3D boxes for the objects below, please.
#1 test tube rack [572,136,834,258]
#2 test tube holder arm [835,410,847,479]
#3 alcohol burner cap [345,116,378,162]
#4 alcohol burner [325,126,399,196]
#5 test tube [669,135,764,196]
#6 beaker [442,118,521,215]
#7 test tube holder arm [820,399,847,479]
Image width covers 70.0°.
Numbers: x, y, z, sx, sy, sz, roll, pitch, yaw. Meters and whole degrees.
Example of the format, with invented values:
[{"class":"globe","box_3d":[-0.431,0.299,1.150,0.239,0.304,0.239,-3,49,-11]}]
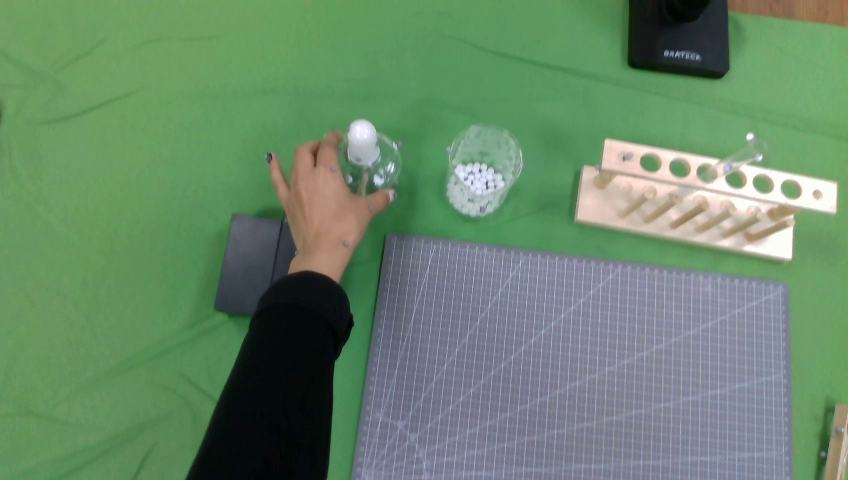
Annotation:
[{"class":"test tube rack","box_3d":[0.293,-0.043,0.652,0.242,0.085,0.066,11,76,0]},{"class":"test tube holder arm","box_3d":[0.431,0.213,0.632,0.010,0.015,0.087,27,75,-31]},{"class":"alcohol burner cap","box_3d":[-0.062,-0.100,0.589,0.034,0.048,0.033,1,69,-1]},{"class":"alcohol burner","box_3d":[-0.064,-0.090,0.625,0.078,0.119,0.077,1,74,-3]},{"class":"test tube","box_3d":[0.287,-0.070,0.607,0.017,0.150,0.017,1,78,-5]},{"class":"beaker","box_3d":[0.056,-0.070,0.638,0.074,0.100,0.083,10,76,0]},{"class":"test tube holder arm","box_3d":[0.413,0.253,0.620,0.013,0.015,0.178,25,76,-31]}]
